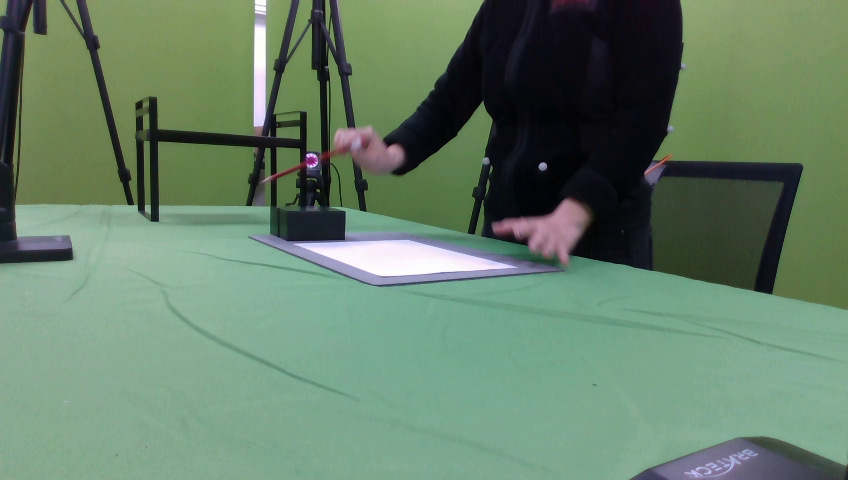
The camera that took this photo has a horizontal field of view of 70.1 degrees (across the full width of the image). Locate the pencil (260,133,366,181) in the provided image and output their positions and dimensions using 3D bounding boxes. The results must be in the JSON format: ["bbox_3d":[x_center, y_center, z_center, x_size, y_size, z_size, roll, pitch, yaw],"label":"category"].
[{"bbox_3d":[-0.187,-0.141,1.029,0.194,0.012,0.012,-26,13,-10],"label":"pencil"}]
